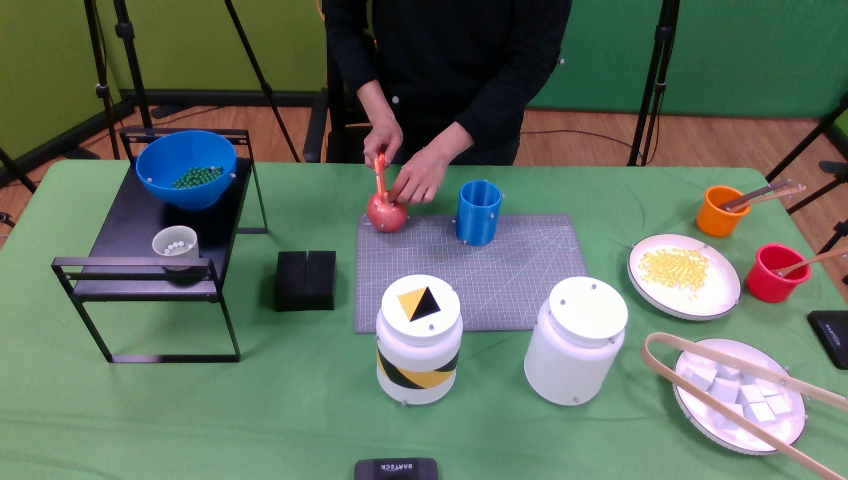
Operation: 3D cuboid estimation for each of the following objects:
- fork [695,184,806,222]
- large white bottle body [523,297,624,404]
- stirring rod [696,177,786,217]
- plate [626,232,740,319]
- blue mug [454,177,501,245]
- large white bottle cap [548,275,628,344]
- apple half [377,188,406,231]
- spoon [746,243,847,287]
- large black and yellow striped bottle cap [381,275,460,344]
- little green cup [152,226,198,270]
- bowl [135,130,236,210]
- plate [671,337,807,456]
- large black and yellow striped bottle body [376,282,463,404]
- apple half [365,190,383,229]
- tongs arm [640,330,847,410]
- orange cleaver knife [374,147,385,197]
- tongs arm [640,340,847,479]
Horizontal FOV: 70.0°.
[{"bbox_3d":[0.658,-0.074,1.230,0.207,0.019,0.028,-24,34,36],"label":"fork"},{"bbox_3d":[0.235,0.159,0.952,0.131,0.185,0.130,2,47,-2],"label":"large white bottle body"},{"bbox_3d":[0.648,-0.087,1.244,0.176,0.006,0.014,-26,50,29],"label":"stirring rod"},{"bbox_3d":[0.489,0.071,1.157,0.209,0.038,0.208,3,46,-3],"label":"plate"},{"bbox_3d":[0.106,-0.067,1.208,0.082,0.106,0.116,5,46,1],"label":"blue mug"},{"bbox_3d":[0.240,0.100,0.890,0.115,0.018,0.114,3,47,-3],"label":"large white bottle cap"},{"bbox_3d":[-0.063,-0.057,1.208,0.053,0.075,0.080,8,42,-2],"label":"apple half"},{"bbox_3d":[0.702,0.044,1.126,0.194,0.022,0.041,-29,38,30],"label":"spoon"},{"bbox_3d":[-0.005,0.098,0.875,0.115,0.019,0.114,2,45,-1],"label":"large black and yellow striped bottle cap"},{"bbox_3d":[-0.364,0.013,0.894,0.061,0.039,0.061,3,46,-3],"label":"little green cup"},{"bbox_3d":[-0.375,-0.102,0.978,0.151,0.077,0.150,2,46,-2],"label":"bowl"},{"bbox_3d":[0.504,0.254,0.984,0.208,0.039,0.206,2,46,-2],"label":"plate"},{"bbox_3d":[-0.010,0.155,0.937,0.131,0.185,0.130,2,47,-2],"label":"large black and yellow striped bottle body"},{"bbox_3d":[-0.102,-0.062,1.206,0.033,0.081,0.081,9,46,-3],"label":"apple half"},{"bbox_3d":[0.543,0.225,0.969,0.384,0.026,0.050,22,52,13],"label":"tongs arm"},{"bbox_3d":[-0.084,-0.135,1.168,0.012,0.077,0.210,-6,18,1],"label":"orange cleaver knife"},{"bbox_3d":[0.500,0.277,0.919,0.386,0.028,0.028,34,59,22],"label":"tongs arm"}]
